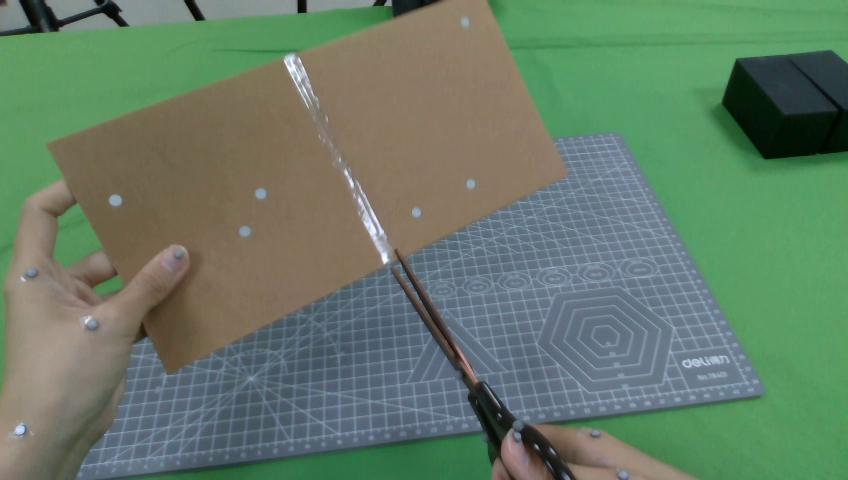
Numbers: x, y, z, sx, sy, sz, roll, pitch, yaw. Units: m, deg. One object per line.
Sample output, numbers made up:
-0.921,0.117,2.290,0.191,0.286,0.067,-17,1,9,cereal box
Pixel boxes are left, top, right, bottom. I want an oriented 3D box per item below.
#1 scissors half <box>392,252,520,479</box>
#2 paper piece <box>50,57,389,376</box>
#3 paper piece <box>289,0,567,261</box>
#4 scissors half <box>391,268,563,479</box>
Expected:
0.025,0.084,0.326,0.013,0.040,0.175,-28,89,-18,scissors half
-0.105,-0.017,0.335,0.136,0.135,0.004,-27,8,-19,paper piece
0.009,-0.075,0.373,0.138,0.136,0.008,-27,8,-19,paper piece
0.026,0.074,0.304,0.013,0.040,0.173,-29,54,-14,scissors half
